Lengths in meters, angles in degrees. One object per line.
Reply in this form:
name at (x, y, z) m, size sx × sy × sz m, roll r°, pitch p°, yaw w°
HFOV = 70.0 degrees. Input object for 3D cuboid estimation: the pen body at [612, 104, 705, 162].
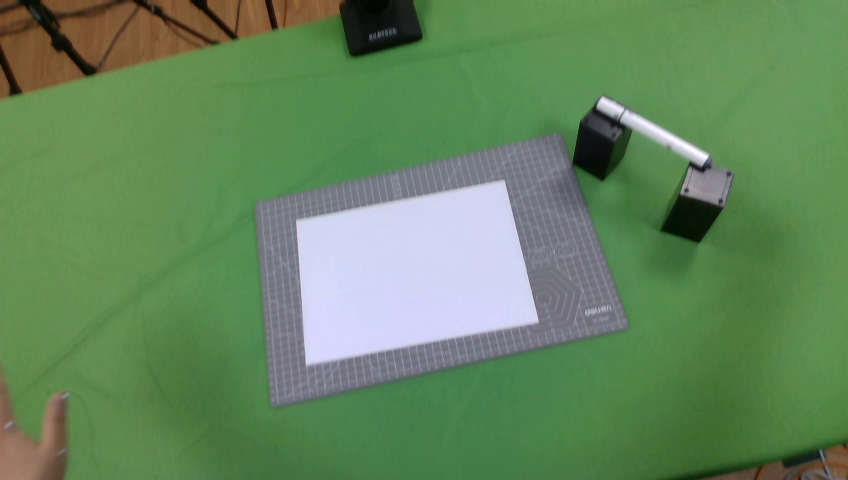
pen body at (0.266, -0.135, 0.722) m, size 0.143 × 0.017 × 0.017 m, roll 37°, pitch 76°, yaw 19°

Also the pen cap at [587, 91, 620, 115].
pen cap at (0.220, -0.169, 0.742) m, size 0.038 × 0.017 × 0.017 m, roll 36°, pitch 75°, yaw 20°
